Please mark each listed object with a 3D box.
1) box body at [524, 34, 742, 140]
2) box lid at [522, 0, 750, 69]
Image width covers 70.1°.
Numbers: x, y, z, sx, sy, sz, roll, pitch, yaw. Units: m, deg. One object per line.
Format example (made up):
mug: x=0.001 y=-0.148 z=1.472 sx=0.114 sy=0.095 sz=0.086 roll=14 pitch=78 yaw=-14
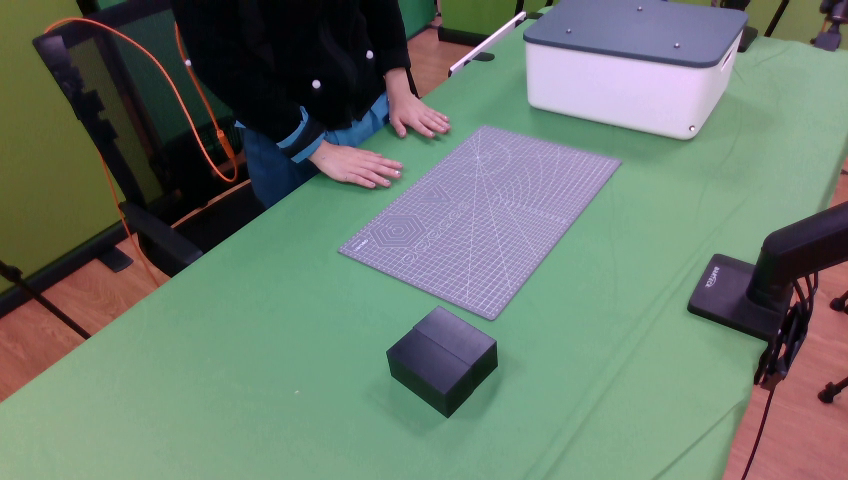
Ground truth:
box body: x=0.412 y=-0.354 z=1.212 sx=0.361 sy=0.161 sz=0.254 roll=20 pitch=48 yaw=29
box lid: x=0.405 y=-0.409 z=1.163 sx=0.369 sy=0.015 sz=0.264 roll=20 pitch=47 yaw=29
